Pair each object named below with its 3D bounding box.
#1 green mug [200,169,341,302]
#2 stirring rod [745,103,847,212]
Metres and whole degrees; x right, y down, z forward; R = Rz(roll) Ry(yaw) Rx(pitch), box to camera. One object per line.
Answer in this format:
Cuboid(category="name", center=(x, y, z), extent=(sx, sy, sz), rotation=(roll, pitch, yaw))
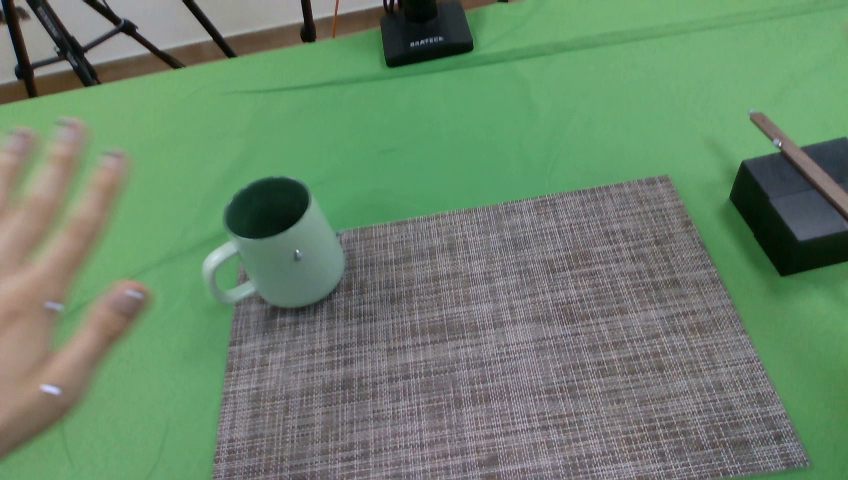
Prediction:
Cuboid(category="green mug", center=(-0.145, 0.007, 0.560), extent=(0.125, 0.106, 0.091), rotation=(-36, 55, -18))
Cuboid(category="stirring rod", center=(0.340, -0.068, 0.534), extent=(0.014, 0.006, 0.174), rotation=(-17, 51, -5))
